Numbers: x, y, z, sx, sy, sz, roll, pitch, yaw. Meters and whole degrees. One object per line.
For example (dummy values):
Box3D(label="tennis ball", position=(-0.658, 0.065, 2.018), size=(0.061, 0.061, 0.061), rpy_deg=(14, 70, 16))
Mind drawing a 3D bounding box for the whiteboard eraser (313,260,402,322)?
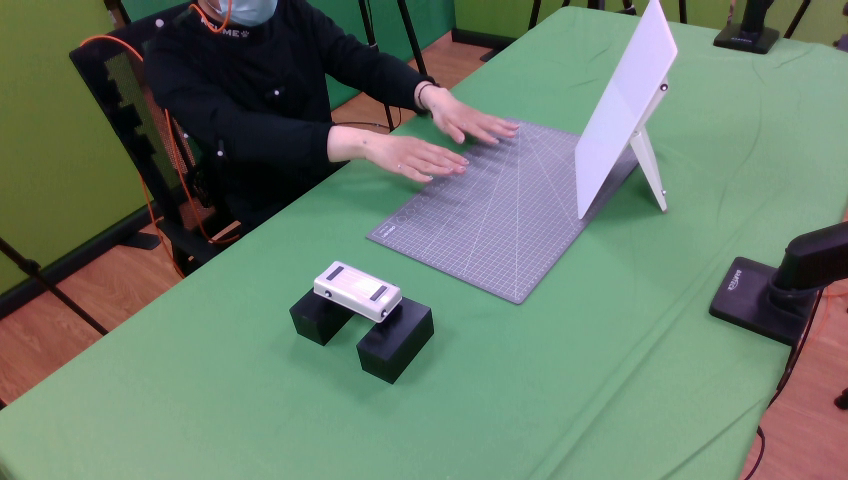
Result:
Box3D(label="whiteboard eraser", position=(-0.090, 0.070, 0.813), size=(0.112, 0.042, 0.056), rpy_deg=(21, 42, 24))

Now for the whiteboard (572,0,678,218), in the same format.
Box3D(label="whiteboard", position=(0.367, -0.188, 0.964), size=(0.144, 0.305, 0.216), rpy_deg=(17, 42, -3))
